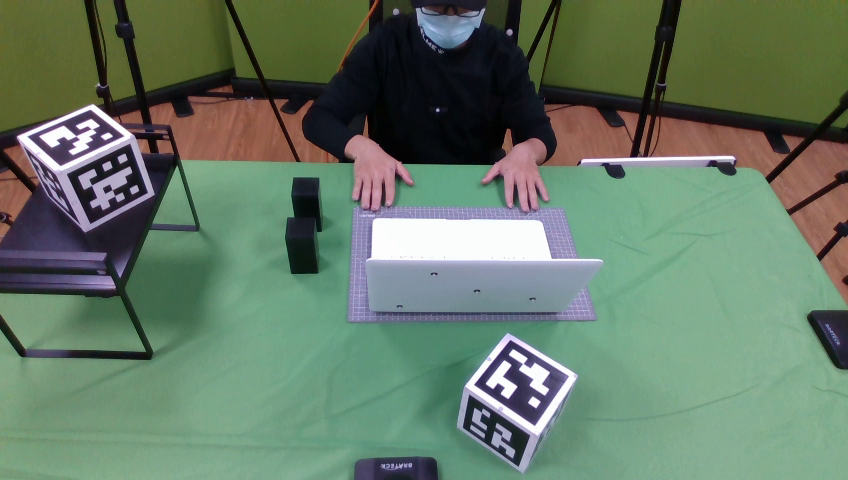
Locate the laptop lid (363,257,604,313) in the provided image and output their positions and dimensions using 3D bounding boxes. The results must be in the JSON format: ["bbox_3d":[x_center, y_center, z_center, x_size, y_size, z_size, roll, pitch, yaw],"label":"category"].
[{"bbox_3d":[0.084,0.076,0.972,0.357,0.242,0.013,1,64,-5],"label":"laptop lid"}]

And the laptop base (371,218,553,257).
[{"bbox_3d":[0.074,0.044,1.159,0.354,0.023,0.234,0,43,-3],"label":"laptop base"}]
